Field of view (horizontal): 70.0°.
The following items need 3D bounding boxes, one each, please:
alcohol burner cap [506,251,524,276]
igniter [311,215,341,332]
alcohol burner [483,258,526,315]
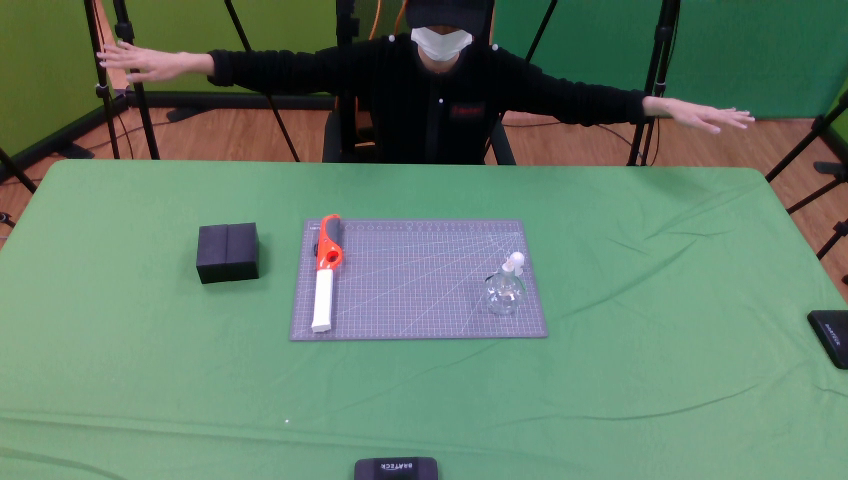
[{"bbox_3d":[0.175,0.043,1.151,0.034,0.048,0.033,2,46,-1],"label":"alcohol burner cap"},{"bbox_3d":[-0.183,0.052,1.124,0.057,0.025,0.274,-7,46,3],"label":"igniter"},{"bbox_3d":[0.143,0.076,1.067,0.078,0.120,0.077,1,45,-1],"label":"alcohol burner"}]
